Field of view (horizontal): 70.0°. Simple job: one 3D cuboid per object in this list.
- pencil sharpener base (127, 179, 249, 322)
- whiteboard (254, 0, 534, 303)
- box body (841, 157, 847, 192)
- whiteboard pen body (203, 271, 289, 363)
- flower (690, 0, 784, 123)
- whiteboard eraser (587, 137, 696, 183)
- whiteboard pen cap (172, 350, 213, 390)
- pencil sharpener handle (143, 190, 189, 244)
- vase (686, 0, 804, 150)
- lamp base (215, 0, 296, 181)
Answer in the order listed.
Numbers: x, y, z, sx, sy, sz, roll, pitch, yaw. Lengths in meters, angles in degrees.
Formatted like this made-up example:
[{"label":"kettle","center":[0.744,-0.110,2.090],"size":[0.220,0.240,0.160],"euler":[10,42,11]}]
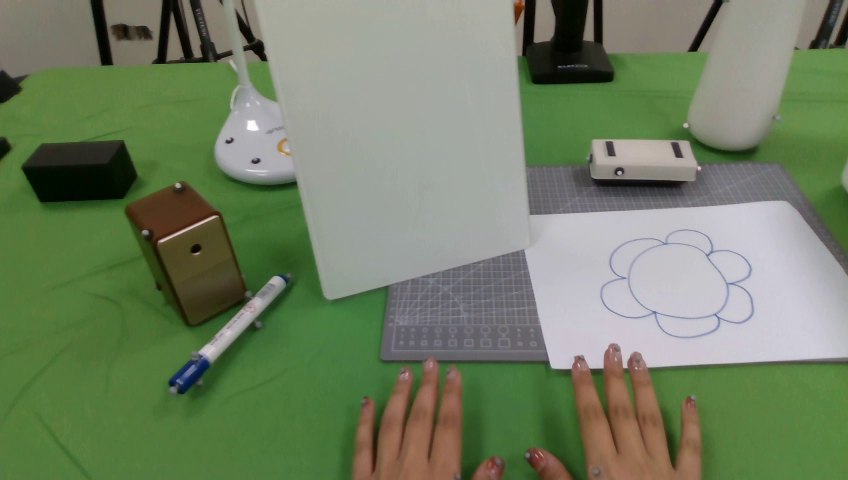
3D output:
[{"label":"pencil sharpener base","center":[-0.216,0.009,0.557],"size":[0.061,0.108,0.076],"euler":[-31,48,-28]},{"label":"whiteboard","center":[-0.030,-0.128,0.599],"size":[0.217,0.307,0.142],"euler":[-14,23,-11]},{"label":"box body","center":[0.567,-0.018,0.504],"size":[0.254,0.162,0.360],"euler":[0,41,4]},{"label":"whiteboard pen body","center":[-0.165,0.074,0.543],"size":[0.017,0.017,0.140],"euler":[14,40,19]},{"label":"flower","center":[0.382,-0.259,0.639],"size":[0.044,0.364,0.038],"euler":[-16,60,-25]},{"label":"whiteboard eraser","center":[0.247,-0.090,0.693],"size":[0.112,0.042,0.055],"euler":[1,39,5]},{"label":"whiteboard pen cap","center":[-0.189,0.106,0.499],"size":[0.018,0.018,0.033],"euler":[16,41,21]},{"label":"pencil sharpener handle","center":[-0.248,-0.025,0.580],"size":[0.036,0.068,0.030],"euler":[-37,50,-23]},{"label":"vase","center":[0.376,-0.206,0.705],"size":[0.098,0.202,0.097],"euler":[-1,41,1]},{"label":"lamp base","center":[-0.196,-0.188,0.728],"size":[0.177,0.182,0.160],"euler":[29,50,35]}]
